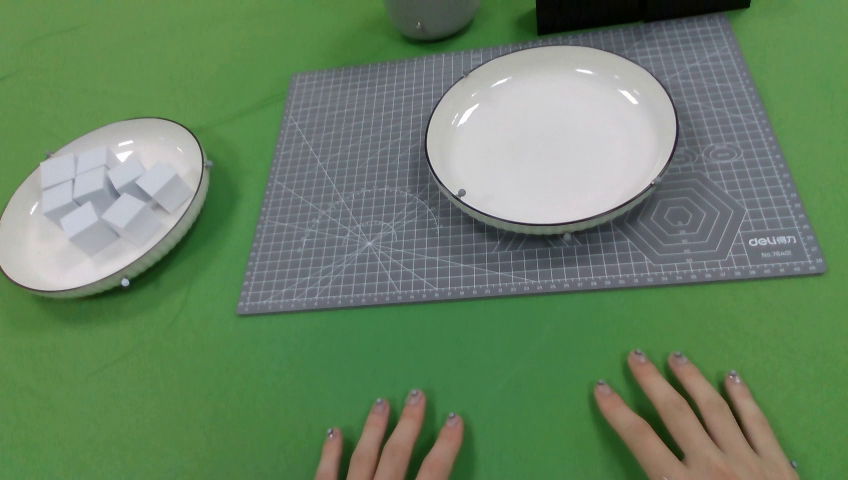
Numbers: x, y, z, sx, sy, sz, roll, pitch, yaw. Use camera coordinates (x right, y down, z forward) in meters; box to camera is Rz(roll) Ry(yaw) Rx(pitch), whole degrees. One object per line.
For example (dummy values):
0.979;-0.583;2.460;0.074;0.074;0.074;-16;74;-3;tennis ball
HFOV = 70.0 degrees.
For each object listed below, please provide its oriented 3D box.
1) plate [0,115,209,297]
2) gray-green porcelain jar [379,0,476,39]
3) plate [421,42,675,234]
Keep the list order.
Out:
-0.300;-0.033;0.581;0.207;0.039;0.205;-6;55;9;plate
-0.003;-0.285;0.628;0.106;0.128;0.105;-6;55;10;gray-green porcelain jar
0.102;-0.088;0.519;0.209;0.038;0.207;-6;55;10;plate
